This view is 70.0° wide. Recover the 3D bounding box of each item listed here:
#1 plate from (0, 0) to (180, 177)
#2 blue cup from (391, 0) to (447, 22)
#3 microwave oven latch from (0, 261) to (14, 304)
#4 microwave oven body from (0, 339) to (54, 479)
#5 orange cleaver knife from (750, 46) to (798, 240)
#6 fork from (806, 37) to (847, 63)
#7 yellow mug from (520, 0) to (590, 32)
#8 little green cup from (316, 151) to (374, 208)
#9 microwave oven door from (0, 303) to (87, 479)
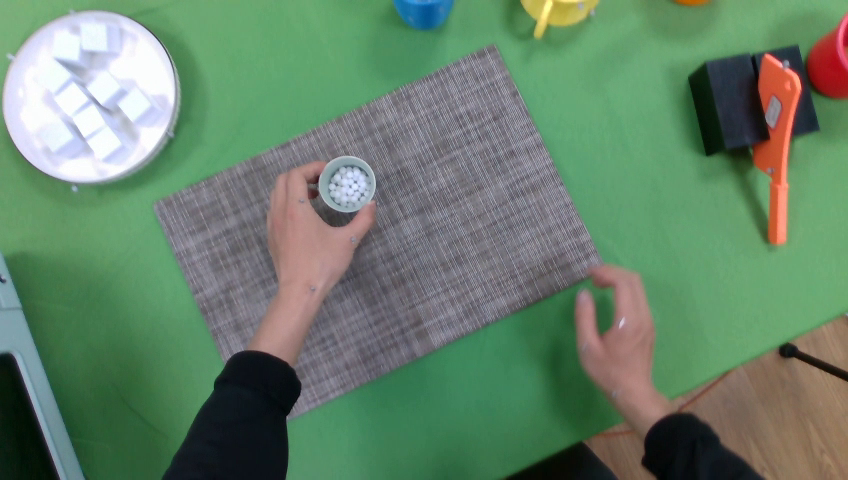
[{"bbox_3d":[-0.387,-0.175,0.713,0.207,0.039,0.207,0,87,1],"label":"plate"},{"bbox_3d":[-0.006,-0.292,0.679,0.092,0.100,0.092,0,88,0],"label":"blue cup"},{"bbox_3d":[-0.497,0.036,0.688,0.030,0.029,0.079,-21,88,0],"label":"microwave oven latch"},{"bbox_3d":[-0.569,0.250,0.583,0.326,0.260,0.441,-23,87,0],"label":"microwave oven body"},{"bbox_3d":[0.382,-0.104,0.670,0.012,0.076,0.213,-11,116,3],"label":"orange cleaver knife"},{"bbox_3d":[0.525,-0.216,0.640,0.206,0.019,0.028,1,84,43],"label":"fork"},{"bbox_3d":[0.150,-0.301,0.692,0.100,0.064,0.130,23,89,3],"label":"yellow mug"},{"bbox_3d":[-0.083,-0.064,0.661,0.061,0.038,0.061,0,91,5],"label":"little green cup"},{"bbox_3d":[-0.419,0.234,0.575,0.039,0.244,0.355,-23,87,0],"label":"microwave oven door"}]
